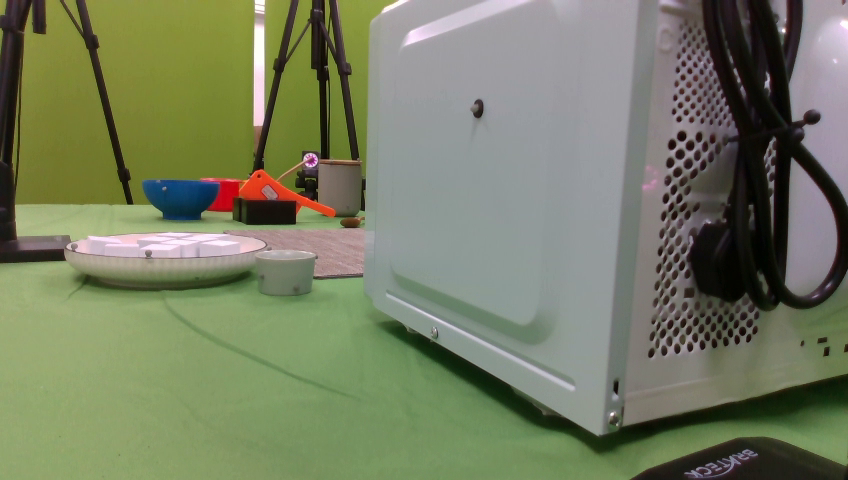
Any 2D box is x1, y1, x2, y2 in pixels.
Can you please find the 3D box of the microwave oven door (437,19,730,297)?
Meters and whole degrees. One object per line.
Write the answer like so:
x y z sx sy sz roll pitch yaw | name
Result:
0.181 -0.076 0.618 0.358 0.243 0.039 -2 9 -28 | microwave oven door

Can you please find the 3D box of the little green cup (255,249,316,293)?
-0.144 0.031 0.627 0.061 0.038 0.061 2 6 0 | little green cup

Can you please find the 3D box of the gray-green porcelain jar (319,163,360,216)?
-0.204 -0.126 1.490 0.106 0.126 0.106 2 7 0 | gray-green porcelain jar

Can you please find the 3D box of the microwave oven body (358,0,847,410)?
0.210 -0.051 0.471 0.444 0.260 0.324 -1 7 -28 | microwave oven body

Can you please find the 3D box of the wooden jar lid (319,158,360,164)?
-0.203 -0.189 1.481 0.108 0.020 0.108 2 10 0 | wooden jar lid

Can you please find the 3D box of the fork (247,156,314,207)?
-0.360 -0.147 1.523 0.207 0.019 0.028 -43 16 -7 | fork

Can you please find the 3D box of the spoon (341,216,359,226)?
-0.132 -0.048 1.305 0.041 0.021 0.194 -15 4 14 | spoon

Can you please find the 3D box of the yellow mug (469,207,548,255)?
0.136 -0.015 0.950 0.131 0.064 0.099 3 5 -20 | yellow mug

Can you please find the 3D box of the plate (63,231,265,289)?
-0.288 0.021 0.687 0.208 0.039 0.207 2 8 0 | plate

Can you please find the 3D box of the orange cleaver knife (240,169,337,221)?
-0.286 -0.082 1.298 0.212 0.077 0.012 25 -2 -31 | orange cleaver knife

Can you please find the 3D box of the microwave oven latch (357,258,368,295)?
-0.019 0.031 0.529 0.079 0.029 0.030 -1 7 -27 | microwave oven latch

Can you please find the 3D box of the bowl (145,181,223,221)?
-0.499 -0.081 1.261 0.151 0.077 0.151 2 7 0 | bowl
